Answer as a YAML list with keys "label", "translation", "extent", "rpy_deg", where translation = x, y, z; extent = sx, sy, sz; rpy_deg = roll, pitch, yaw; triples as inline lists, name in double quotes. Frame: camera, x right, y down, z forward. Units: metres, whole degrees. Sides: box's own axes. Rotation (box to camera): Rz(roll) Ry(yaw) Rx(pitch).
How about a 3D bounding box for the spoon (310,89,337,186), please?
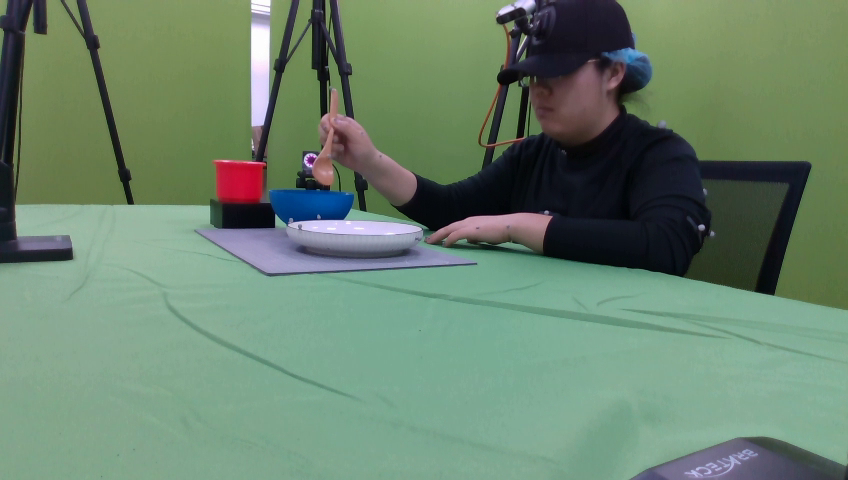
- label: "spoon"
  translation: [-0.164, -0.179, 1.037]
  extent: [0.042, 0.193, 0.021]
  rpy_deg: [21, -25, -33]

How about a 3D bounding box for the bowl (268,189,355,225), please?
- label: "bowl"
  translation: [-0.201, -0.049, 1.078]
  extent: [0.151, 0.077, 0.151]
  rpy_deg: [3, 7, 0]

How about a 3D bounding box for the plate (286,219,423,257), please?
- label: "plate"
  translation: [-0.105, -0.004, 0.922]
  extent: [0.208, 0.039, 0.207]
  rpy_deg: [3, 7, 0]
